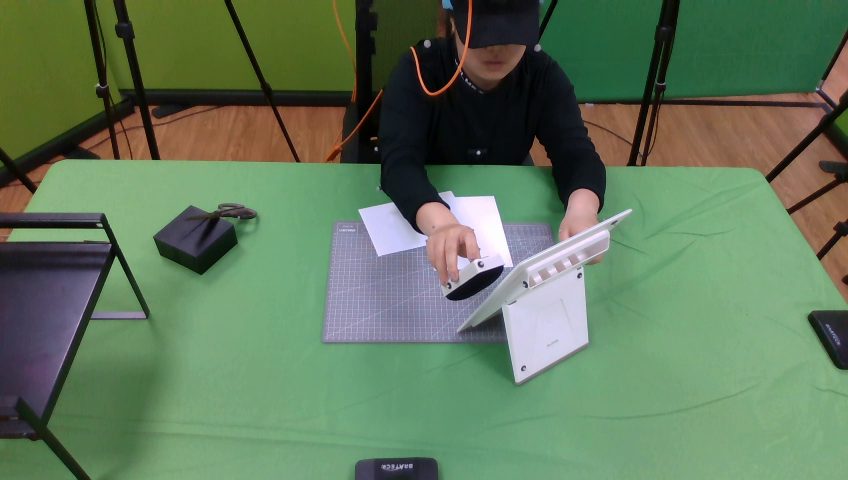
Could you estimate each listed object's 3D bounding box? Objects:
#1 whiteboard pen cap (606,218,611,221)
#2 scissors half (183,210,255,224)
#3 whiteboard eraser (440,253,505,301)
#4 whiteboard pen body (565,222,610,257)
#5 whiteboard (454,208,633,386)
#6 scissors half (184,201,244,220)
[{"bbox_3d":[0.379,-0.031,1.255,0.033,0.018,0.018,-33,57,-30],"label":"whiteboard pen cap"},{"bbox_3d":[-0.389,-0.043,1.158,0.040,0.013,0.175,39,21,23],"label":"scissors half"},{"bbox_3d":[0.075,0.060,0.934,0.056,0.113,0.041,-10,71,-33],"label":"whiteboard eraser"},{"bbox_3d":[0.335,-0.003,1.228,0.141,0.017,0.017,-32,56,-29],"label":"whiteboard pen body"},{"bbox_3d":[0.211,0.111,0.954,0.217,0.306,0.143,-22,72,-24],"label":"whiteboard"},{"bbox_3d":[-0.405,-0.054,1.164,0.040,0.013,0.175,28,18,7],"label":"scissors half"}]
